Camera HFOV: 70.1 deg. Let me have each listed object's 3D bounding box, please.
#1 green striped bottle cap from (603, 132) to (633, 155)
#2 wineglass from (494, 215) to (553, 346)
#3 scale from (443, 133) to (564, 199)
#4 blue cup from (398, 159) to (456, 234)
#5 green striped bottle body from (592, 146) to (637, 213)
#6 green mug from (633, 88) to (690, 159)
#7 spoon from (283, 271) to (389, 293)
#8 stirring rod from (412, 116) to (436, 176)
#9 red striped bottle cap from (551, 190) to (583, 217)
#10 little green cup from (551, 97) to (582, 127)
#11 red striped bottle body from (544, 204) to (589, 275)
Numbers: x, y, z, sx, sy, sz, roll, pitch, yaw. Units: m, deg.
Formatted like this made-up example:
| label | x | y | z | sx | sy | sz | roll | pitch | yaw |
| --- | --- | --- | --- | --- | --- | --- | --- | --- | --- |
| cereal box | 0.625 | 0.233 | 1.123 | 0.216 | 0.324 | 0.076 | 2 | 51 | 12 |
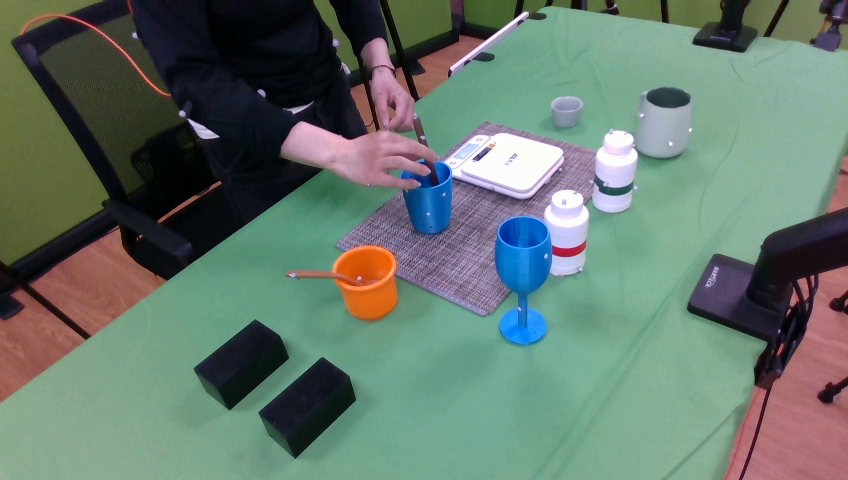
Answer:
| label | x | y | z | sx | sy | sz | roll | pitch | yaw |
| --- | --- | --- | --- | --- | --- | --- | --- | --- | --- |
| green striped bottle cap | 0.301 | -0.149 | 0.938 | 0.044 | 0.020 | 0.044 | -3 | 39 | 3 |
| wineglass | 0.127 | 0.055 | 0.770 | 0.074 | 0.173 | 0.073 | -4 | 40 | 4 |
| scale | 0.137 | -0.142 | 1.101 | 0.199 | 0.032 | 0.149 | 22 | 48 | 30 |
| blue cup | 0.007 | -0.065 | 0.977 | 0.092 | 0.100 | 0.092 | -4 | 39 | 4 |
| green striped bottle body | 0.307 | -0.108 | 0.976 | 0.063 | 0.120 | 0.063 | -4 | 41 | 4 |
| green mug | 0.423 | -0.217 | 1.099 | 0.093 | 0.105 | 0.124 | -16 | 41 | -9 |
| spoon | -0.116 | 0.054 | 0.824 | 0.041 | 0.195 | 0.021 | 22 | 92 | 37 |
| stirring rod | 0.010 | -0.115 | 0.947 | 0.005 | 0.177 | 0.014 | 15 | 50 | 36 |
| red striped bottle cap | 0.199 | -0.051 | 0.843 | 0.044 | 0.018 | 0.044 | -2 | 41 | 2 |
| little green cup | 0.284 | -0.255 | 1.213 | 0.061 | 0.039 | 0.061 | -4 | 41 | 4 |
| red striped bottle body | 0.206 | -0.011 | 0.877 | 0.063 | 0.120 | 0.062 | -5 | 41 | 4 |
